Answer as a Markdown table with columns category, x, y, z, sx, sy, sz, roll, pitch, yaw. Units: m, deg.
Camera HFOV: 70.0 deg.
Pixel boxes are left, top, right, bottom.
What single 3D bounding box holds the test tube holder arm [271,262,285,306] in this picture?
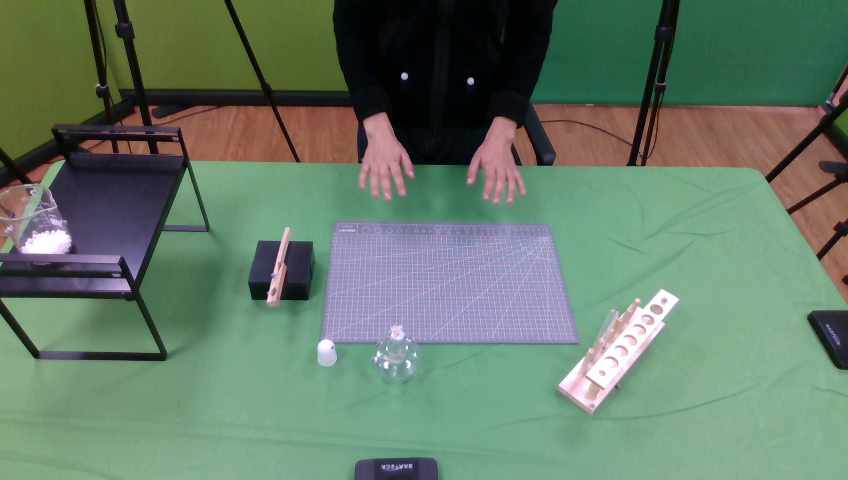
| category | x | y | z | sx | sy | sz | roll | pitch | yaw |
| --- | --- | --- | --- | --- | --- | --- | --- | --- | --- |
| test tube holder arm | -0.250 | 0.075 | 1.040 | 0.010 | 0.015 | 0.087 | -5 | 46 | 2 |

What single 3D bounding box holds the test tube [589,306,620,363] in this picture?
| category | x | y | z | sx | sy | sz | roll | pitch | yaw |
| --- | --- | --- | --- | --- | --- | --- | --- | --- | --- |
| test tube | 0.284 | 0.152 | 0.961 | 0.017 | 0.151 | 0.017 | 2 | 49 | -2 |

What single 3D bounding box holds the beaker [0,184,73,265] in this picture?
| category | x | y | z | sx | sy | sz | roll | pitch | yaw |
| --- | --- | --- | --- | --- | --- | --- | --- | --- | --- |
| beaker | -0.556 | -0.019 | 0.871 | 0.084 | 0.101 | 0.073 | 3 | 46 | -2 |

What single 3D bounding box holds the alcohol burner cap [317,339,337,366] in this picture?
| category | x | y | z | sx | sy | sz | roll | pitch | yaw |
| --- | --- | --- | --- | --- | --- | --- | --- | --- | --- |
| alcohol burner cap | -0.161 | 0.182 | 0.995 | 0.034 | 0.048 | 0.033 | 2 | 47 | -2 |

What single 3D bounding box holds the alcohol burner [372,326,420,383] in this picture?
| category | x | y | z | sx | sy | sz | roll | pitch | yaw |
| --- | --- | --- | --- | --- | --- | --- | --- | --- | --- |
| alcohol burner | -0.045 | 0.174 | 0.961 | 0.078 | 0.120 | 0.077 | 1 | 47 | -1 |

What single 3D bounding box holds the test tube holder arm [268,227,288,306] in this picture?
| category | x | y | z | sx | sy | sz | roll | pitch | yaw |
| --- | --- | --- | --- | --- | --- | --- | --- | --- | --- |
| test tube holder arm | -0.258 | 0.043 | 1.071 | 0.013 | 0.015 | 0.177 | -5 | 46 | 1 |

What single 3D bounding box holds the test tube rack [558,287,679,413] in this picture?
| category | x | y | z | sx | sy | sz | roll | pitch | yaw |
| --- | --- | --- | --- | --- | --- | --- | --- | --- | --- |
| test tube rack | 0.326 | 0.170 | 1.009 | 0.066 | 0.085 | 0.242 | 36 | 54 | 27 |
